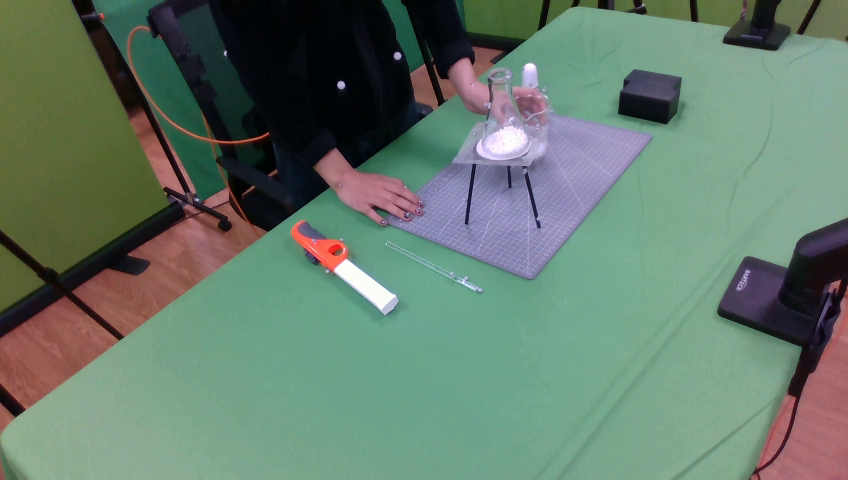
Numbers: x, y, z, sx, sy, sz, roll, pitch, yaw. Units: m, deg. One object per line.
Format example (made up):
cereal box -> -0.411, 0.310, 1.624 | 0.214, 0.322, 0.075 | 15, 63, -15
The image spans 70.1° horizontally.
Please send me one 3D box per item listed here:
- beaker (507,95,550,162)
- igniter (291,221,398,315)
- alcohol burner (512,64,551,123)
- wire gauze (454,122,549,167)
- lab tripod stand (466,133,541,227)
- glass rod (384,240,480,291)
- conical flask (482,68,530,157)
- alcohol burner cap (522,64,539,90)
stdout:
beaker -> 0.184, -0.195, 1.075 | 0.074, 0.100, 0.084 | 5, 40, 14
igniter -> -0.136, 0.037, 0.962 | 0.057, 0.025, 0.274 | -41, 48, -18
alcohol burner -> 0.215, -0.298, 1.220 | 0.078, 0.120, 0.077 | -7, 40, 7
wire gauze -> 0.122, -0.149, 0.943 | 0.121, 0.011, 0.125 | 7, 44, 22
lab tripod stand -> 0.130, -0.099, 0.985 | 0.148, 0.132, 0.147 | -6, 38, 6
glass rod -> 0.009, 0.037, 0.949 | 0.198, 0.008, 0.008 | 26, 52, 34
conical flask -> 0.118, -0.192, 0.902 | 0.075, 0.122, 0.075 | -7, 39, 6
alcohol burner cap -> 0.210, -0.324, 1.195 | 0.034, 0.048, 0.033 | -7, 45, 7
